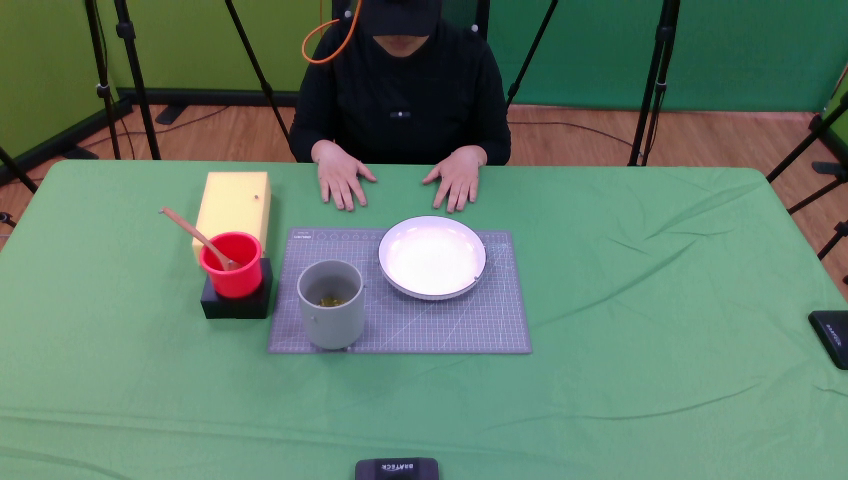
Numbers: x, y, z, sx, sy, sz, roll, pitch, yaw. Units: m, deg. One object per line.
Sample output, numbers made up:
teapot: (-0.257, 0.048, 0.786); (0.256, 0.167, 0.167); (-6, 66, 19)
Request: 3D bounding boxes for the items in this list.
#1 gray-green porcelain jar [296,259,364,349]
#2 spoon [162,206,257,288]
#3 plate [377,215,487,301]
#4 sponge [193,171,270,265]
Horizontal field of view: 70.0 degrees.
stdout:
gray-green porcelain jar: (-0.152, 0.111, 1.003); (0.106, 0.127, 0.105); (2, 46, -2)
spoon: (-0.355, 0.011, 1.006); (0.194, 0.021, 0.041); (48, 45, -19)
plate: (0.015, 0.037, 1.147); (0.208, 0.039, 0.206); (2, 46, -2)
sponge: (-0.371, -0.047, 1.189); (0.118, 0.061, 0.205); (-2, 47, -6)
